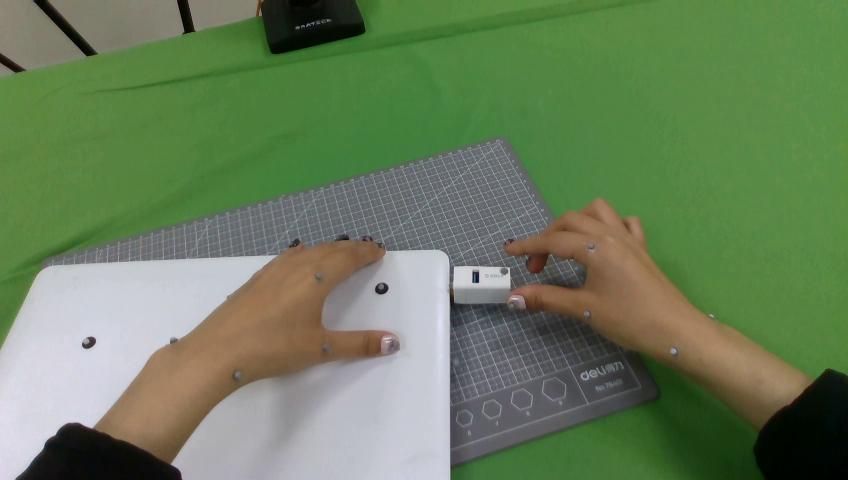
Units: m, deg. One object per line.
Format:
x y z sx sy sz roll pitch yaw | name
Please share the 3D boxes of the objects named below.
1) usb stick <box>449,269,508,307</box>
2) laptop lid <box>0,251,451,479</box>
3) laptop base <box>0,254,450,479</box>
0.036 0.037 0.472 0.059 0.027 0.021 -3 51 8 | usb stick
-0.158 0.109 0.437 0.356 0.013 0.239 -1 53 5 | laptop lid
-0.157 0.114 0.447 0.354 0.023 0.233 -2 54 4 | laptop base
